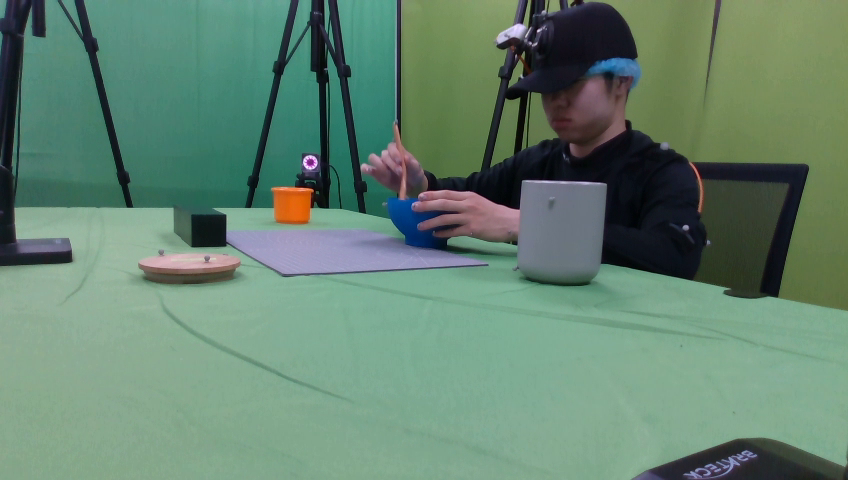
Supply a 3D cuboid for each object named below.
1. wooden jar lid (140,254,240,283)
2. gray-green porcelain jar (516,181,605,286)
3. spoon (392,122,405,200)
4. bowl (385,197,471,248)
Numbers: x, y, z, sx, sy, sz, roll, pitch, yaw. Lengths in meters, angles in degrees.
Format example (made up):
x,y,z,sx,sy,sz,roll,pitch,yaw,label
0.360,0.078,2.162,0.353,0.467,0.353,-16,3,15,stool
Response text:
x,y,z,sx,sy,sz,roll,pitch,yaw,label
-0.269,0.032,0.698,0.108,0.020,0.108,2,5,0,wooden jar lid
0.172,-0.010,0.768,0.106,0.126,0.106,2,7,0,gray-green porcelain jar
-0.040,-0.113,1.041,0.022,0.193,0.041,-3,-13,-7,spoon
0.004,-0.030,1.046,0.151,0.077,0.151,5,6,0,bowl
